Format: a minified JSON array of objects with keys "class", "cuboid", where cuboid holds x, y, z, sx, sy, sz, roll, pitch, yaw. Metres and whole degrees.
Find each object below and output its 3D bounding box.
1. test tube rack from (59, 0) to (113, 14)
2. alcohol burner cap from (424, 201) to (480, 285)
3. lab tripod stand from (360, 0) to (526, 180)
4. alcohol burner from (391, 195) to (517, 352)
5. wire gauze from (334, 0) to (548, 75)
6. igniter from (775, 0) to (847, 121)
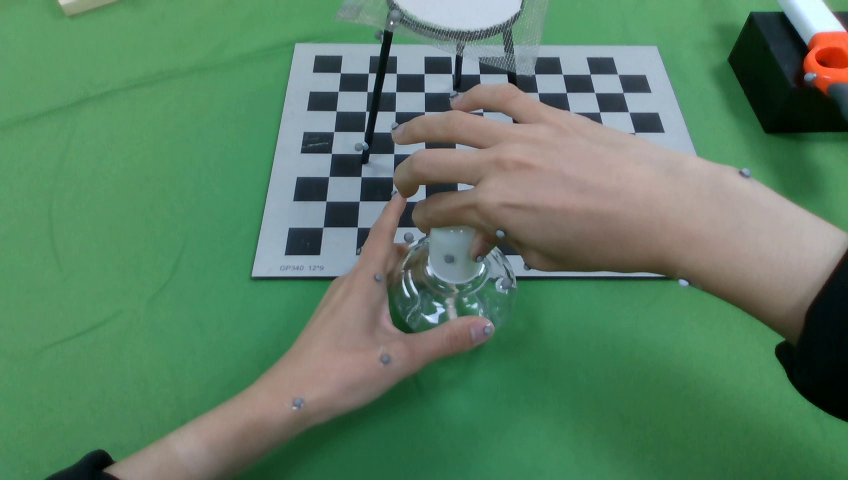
[{"class":"test tube rack","cuboid":[-0.266,-0.321,0.612,0.242,0.086,0.066,-29,60,-20]},{"class":"alcohol burner cap","cuboid":[0.016,-0.001,0.335,0.034,0.048,0.033,0,52,1]},{"class":"lab tripod stand","cuboid":[0.022,-0.121,0.443,0.148,0.132,0.147,2,54,-2]},{"class":"alcohol burner","cuboid":[0.017,0.018,0.360,0.078,0.120,0.077,-1,54,2]},{"class":"wire gauze","cuboid":[0.020,-0.159,0.386,0.125,0.011,0.120,15,55,8]},{"class":"igniter","cuboid":[0.325,-0.154,0.485,0.057,0.025,0.274,-2,53,1]}]
